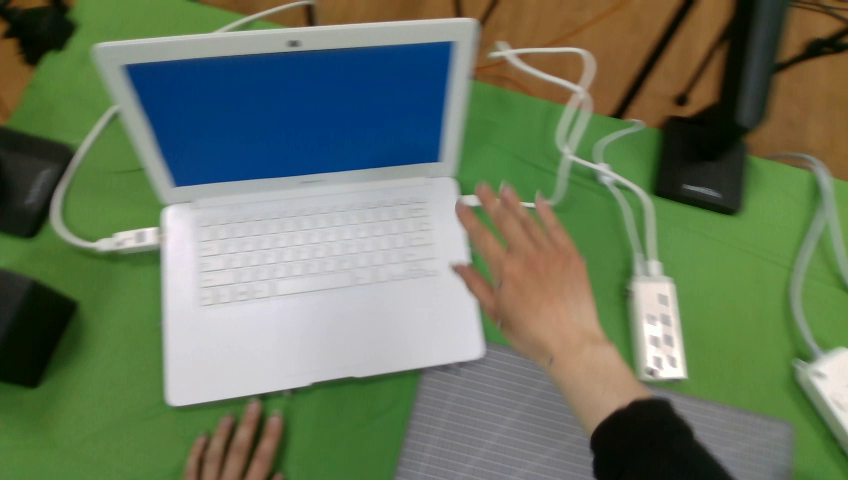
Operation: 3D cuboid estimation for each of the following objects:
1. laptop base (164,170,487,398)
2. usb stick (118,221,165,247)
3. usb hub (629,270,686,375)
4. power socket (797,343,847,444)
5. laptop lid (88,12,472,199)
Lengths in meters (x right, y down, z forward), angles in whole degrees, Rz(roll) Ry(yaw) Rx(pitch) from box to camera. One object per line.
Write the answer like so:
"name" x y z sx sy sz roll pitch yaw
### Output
"laptop base" -0.117 0.043 0.715 0.355 0.023 0.234 -7 76 -8
"usb stick" -0.318 -0.007 0.698 0.059 0.027 0.021 -7 76 -13
"usb hub" 0.281 0.099 0.734 0.049 0.025 0.124 0 72 -5
"power socket" 0.535 0.226 0.714 0.072 0.033 0.225 -26 76 -14
"laptop lid" -0.131 -0.134 0.651 0.357 0.243 0.013 -8 57 -7
